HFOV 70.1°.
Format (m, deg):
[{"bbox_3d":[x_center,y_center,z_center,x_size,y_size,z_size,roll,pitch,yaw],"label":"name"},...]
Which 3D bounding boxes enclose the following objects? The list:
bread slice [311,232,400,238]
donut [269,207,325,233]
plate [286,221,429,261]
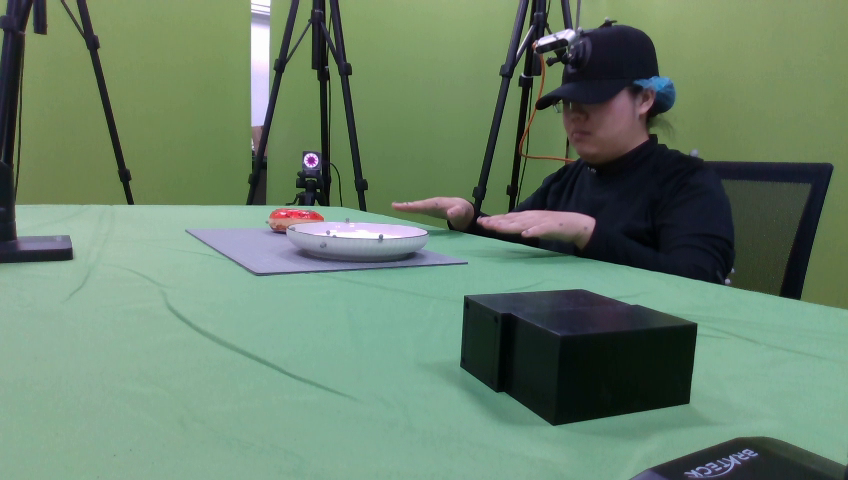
[{"bbox_3d":[-0.101,0.002,0.885,0.135,0.018,0.106,-3,8,-38],"label":"bread slice"},{"bbox_3d":[-0.230,-0.036,1.098,0.099,0.048,0.099,3,5,0],"label":"donut"},{"bbox_3d":[-0.096,0.001,0.886,0.209,0.038,0.209,2,7,0],"label":"plate"}]
